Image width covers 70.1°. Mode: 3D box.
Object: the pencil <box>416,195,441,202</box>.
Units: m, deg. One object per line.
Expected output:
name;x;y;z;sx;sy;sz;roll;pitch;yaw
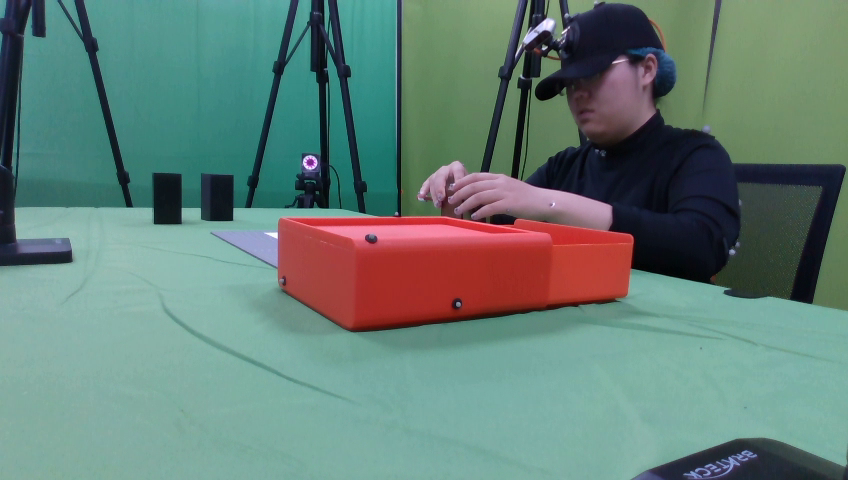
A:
pencil;0.036;-0.070;1.056;0.012;0.012;0.193;-1;7;-30

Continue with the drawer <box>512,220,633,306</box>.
drawer;0.085;0.021;0.674;0.213;0.073;0.193;-2;9;-32

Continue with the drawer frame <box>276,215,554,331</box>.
drawer frame;-0.015;0.022;0.610;0.215;0.082;0.200;-2;9;-32

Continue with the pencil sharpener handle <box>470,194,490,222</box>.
pencil sharpener handle;0.096;-0.037;0.943;0.036;0.068;0.030;-10;13;-27

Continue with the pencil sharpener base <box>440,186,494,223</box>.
pencil sharpener base;0.070;-0.032;0.988;0.061;0.107;0.076;-1;9;-29
